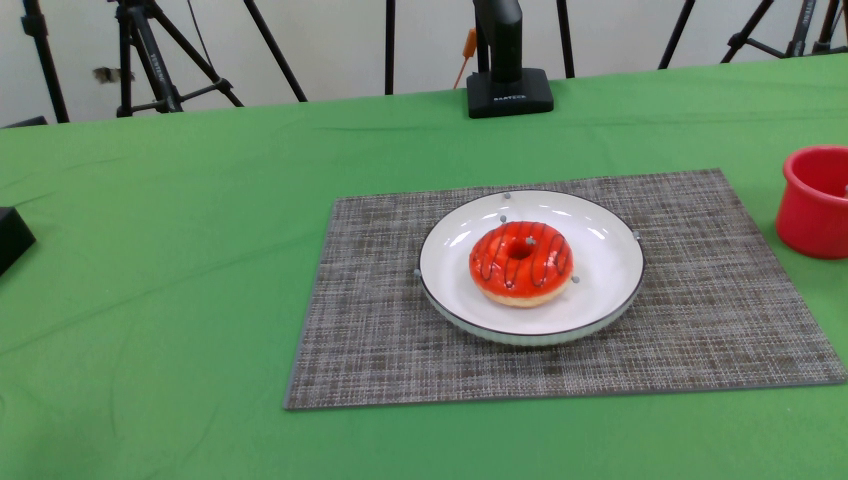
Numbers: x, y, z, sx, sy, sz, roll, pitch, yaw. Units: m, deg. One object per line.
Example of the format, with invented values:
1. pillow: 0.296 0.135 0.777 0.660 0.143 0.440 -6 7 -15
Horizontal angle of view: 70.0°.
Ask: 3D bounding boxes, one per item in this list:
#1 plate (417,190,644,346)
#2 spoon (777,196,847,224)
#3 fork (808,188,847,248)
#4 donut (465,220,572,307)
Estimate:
1. plate: 0.099 0.026 0.578 0.209 0.038 0.207 -4 39 4
2. spoon: 0.396 -0.039 0.529 0.041 0.193 0.021 -33 91 -18
3. fork: 0.424 -0.082 0.566 0.019 0.207 0.028 25 6 -17
4. donut: 0.088 0.021 0.567 0.099 0.049 0.098 -5 42 5
